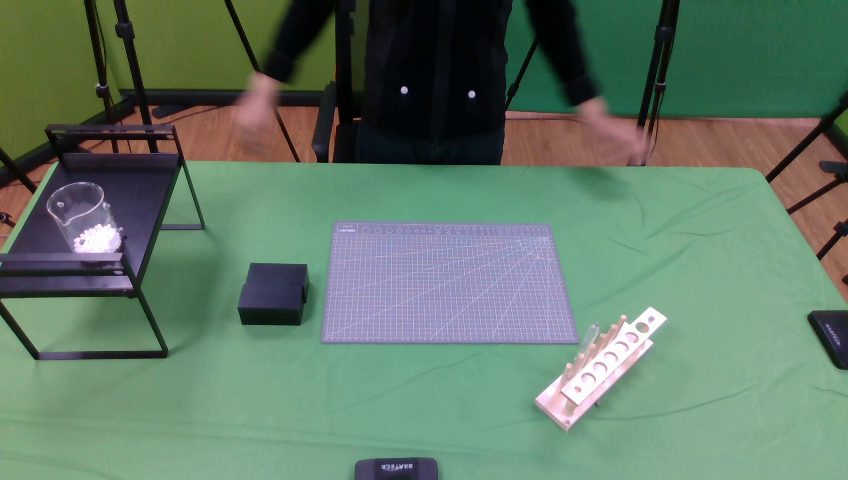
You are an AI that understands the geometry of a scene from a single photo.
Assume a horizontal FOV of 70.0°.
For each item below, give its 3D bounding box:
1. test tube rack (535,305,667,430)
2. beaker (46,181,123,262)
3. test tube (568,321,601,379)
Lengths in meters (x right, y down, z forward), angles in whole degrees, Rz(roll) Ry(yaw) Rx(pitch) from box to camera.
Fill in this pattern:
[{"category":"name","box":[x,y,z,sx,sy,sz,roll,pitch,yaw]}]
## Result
[{"category":"test tube rack","box":[0.290,0.193,0.984,0.242,0.085,0.066,-32,56,-30]},{"category":"beaker","box":[-0.487,-0.021,0.877,0.074,0.101,0.083,3,47,0]},{"category":"test tube","box":[0.247,0.173,0.938,0.017,0.151,0.017,2,47,-2]}]
